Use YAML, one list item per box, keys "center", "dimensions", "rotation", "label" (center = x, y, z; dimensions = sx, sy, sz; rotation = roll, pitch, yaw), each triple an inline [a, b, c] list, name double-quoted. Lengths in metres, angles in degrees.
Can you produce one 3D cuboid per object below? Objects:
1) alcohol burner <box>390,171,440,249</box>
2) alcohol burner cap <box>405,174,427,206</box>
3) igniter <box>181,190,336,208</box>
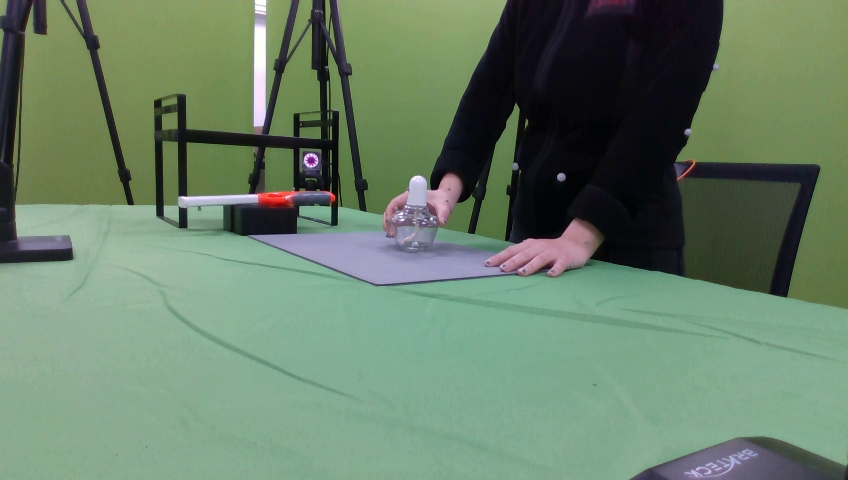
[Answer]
- center: [-0.012, -0.047, 0.929]
  dimensions: [0.078, 0.119, 0.078]
  rotation: [5, 9, 0]
  label: "alcohol burner"
- center: [-0.010, -0.077, 0.926]
  dimensions: [0.034, 0.048, 0.034]
  rotation: [5, 8, 0]
  label: "alcohol burner cap"
- center: [-0.294, -0.075, 1.103]
  dimensions: [0.278, 0.025, 0.057]
  rotation: [-5, 12, -33]
  label: "igniter"
